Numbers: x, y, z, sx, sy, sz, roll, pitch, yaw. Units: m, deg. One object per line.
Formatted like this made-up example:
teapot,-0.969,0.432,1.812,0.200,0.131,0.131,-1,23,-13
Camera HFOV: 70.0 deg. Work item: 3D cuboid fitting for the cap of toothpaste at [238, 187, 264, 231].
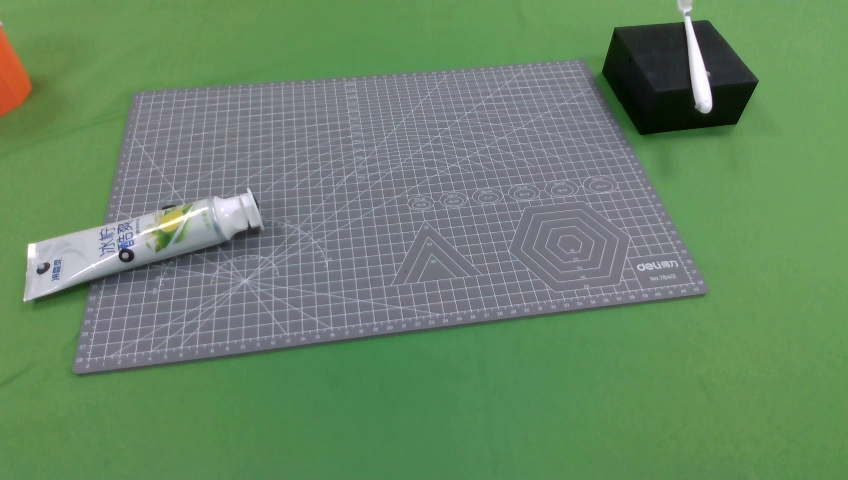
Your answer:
cap of toothpaste,-0.133,-0.023,0.466,0.011,0.037,0.037,-22,54,-19

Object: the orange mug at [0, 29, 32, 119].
orange mug,-0.428,-0.156,0.528,0.083,0.101,0.126,27,51,18

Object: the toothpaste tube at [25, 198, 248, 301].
toothpaste tube,-0.211,-0.001,0.453,0.165,0.035,0.054,-17,48,-10

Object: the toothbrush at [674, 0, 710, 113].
toothbrush,0.248,-0.179,0.560,0.014,0.017,0.180,9,52,3
